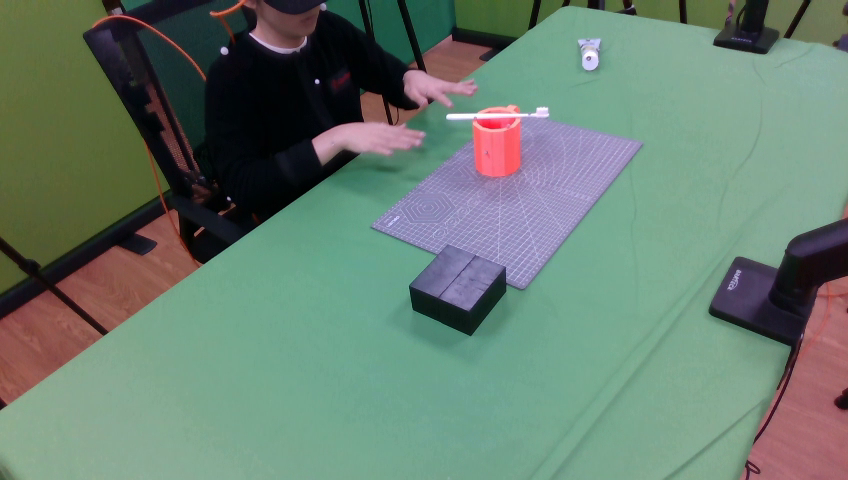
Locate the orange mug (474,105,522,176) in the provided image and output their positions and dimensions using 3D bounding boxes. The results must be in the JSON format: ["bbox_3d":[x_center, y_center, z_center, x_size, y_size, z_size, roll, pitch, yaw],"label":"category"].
[{"bbox_3d":[0.145,-0.192,1.114,0.083,0.101,0.126,18,51,27],"label":"orange mug"}]

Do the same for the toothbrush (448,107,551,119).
[{"bbox_3d":[0.132,-0.223,1.072,0.181,0.017,0.014,0,41,9],"label":"toothbrush"}]

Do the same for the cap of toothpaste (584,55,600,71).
[{"bbox_3d":[0.381,-0.403,1.372,0.037,0.037,0.011,1,38,10],"label":"cap of toothpaste"}]

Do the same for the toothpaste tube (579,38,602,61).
[{"bbox_3d":[0.398,-0.449,1.433,0.055,0.034,0.164,6,38,8],"label":"toothpaste tube"}]
